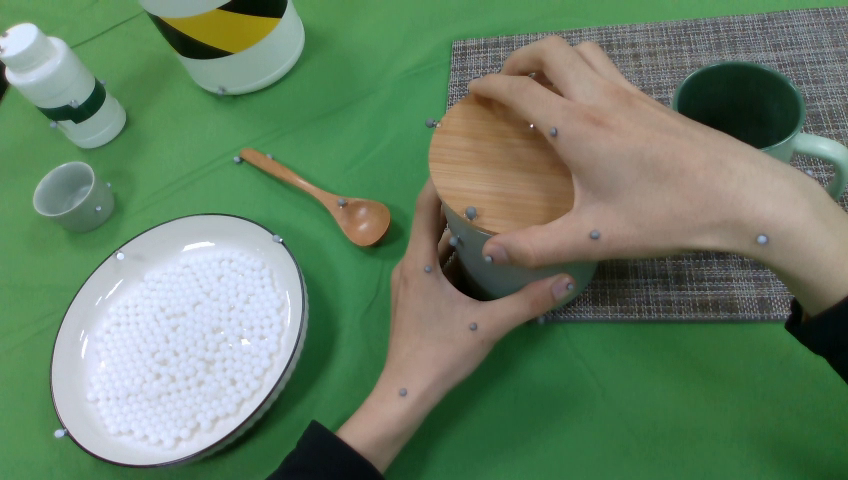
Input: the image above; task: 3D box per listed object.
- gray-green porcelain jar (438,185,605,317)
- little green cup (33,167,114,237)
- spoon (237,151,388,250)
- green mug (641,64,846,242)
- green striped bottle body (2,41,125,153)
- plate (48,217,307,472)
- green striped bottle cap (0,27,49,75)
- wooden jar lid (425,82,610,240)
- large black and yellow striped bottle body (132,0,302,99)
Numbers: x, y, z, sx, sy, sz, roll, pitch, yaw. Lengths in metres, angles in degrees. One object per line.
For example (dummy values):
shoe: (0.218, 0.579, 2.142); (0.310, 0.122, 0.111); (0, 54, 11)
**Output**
gray-green porcelain jar: (0.068, -0.013, 0.420); (0.106, 0.128, 0.105); (-5, 59, 9)
little green cup: (-0.330, -0.034, 0.574); (0.061, 0.039, 0.061); (-5, 59, 9)
spoon: (-0.105, -0.044, 0.541); (0.192, 0.022, 0.041); (30, 88, 25)
green mug: (0.222, -0.054, 0.425); (0.124, 0.106, 0.092); (18, 65, 21)
green striped bottle body: (-0.358, -0.145, 0.596); (0.063, 0.120, 0.062); (-5, 59, 10)
plate: (-0.189, 0.078, 0.480); (0.209, 0.038, 0.207); (-5, 59, 9)
green striped bottle cap: (-0.368, -0.172, 0.552); (0.044, 0.020, 0.044); (-4, 61, 7)
wooden jar lid: (0.055, -0.046, 0.365); (0.108, 0.021, 0.107); (-3, 66, 6)
large black and yellow striped bottle body: (-0.209, -0.242, 0.582); (0.130, 0.186, 0.129); (-5, 60, 9)
